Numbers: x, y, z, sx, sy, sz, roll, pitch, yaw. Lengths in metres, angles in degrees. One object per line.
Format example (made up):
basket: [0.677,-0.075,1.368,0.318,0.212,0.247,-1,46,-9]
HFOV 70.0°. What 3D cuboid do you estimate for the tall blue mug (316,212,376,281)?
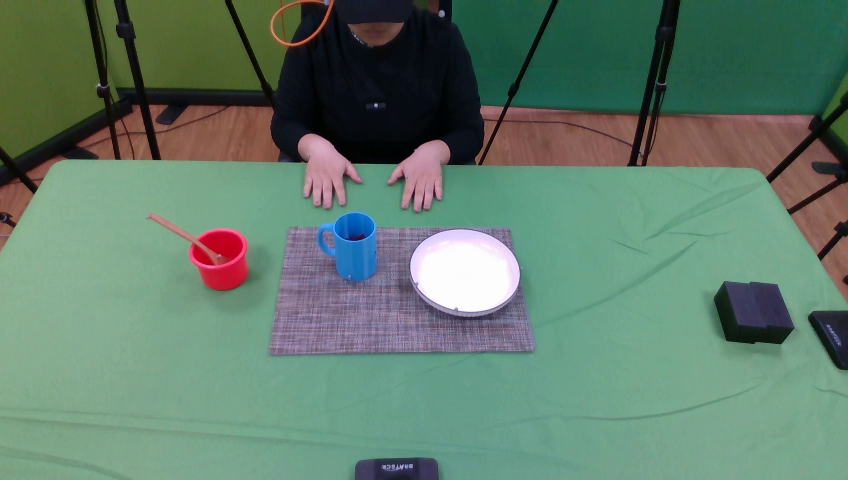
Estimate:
tall blue mug: [-0.142,0.014,1.109,0.107,0.108,0.077,-5,47,-8]

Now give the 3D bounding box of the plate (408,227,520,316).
plate: [0.073,0.062,1.128,0.208,0.039,0.206,2,46,-2]

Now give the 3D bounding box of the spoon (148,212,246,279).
spoon: [-0.400,0.009,1.076,0.194,0.021,0.041,42,37,-25]
